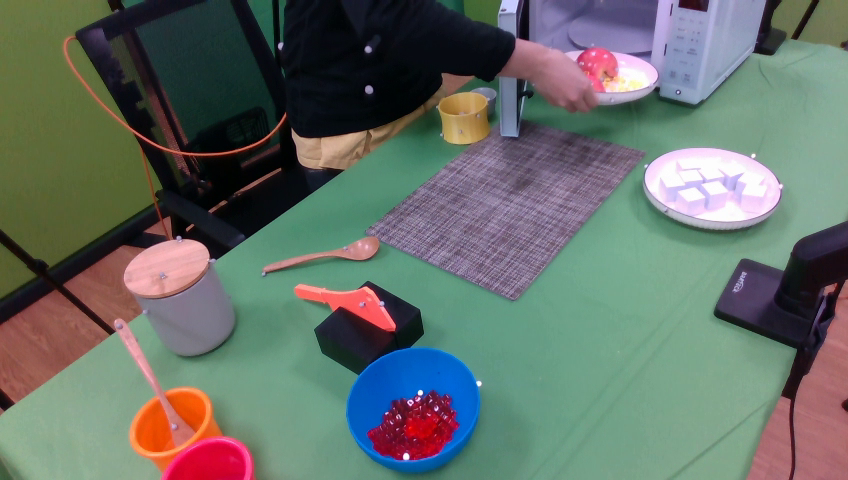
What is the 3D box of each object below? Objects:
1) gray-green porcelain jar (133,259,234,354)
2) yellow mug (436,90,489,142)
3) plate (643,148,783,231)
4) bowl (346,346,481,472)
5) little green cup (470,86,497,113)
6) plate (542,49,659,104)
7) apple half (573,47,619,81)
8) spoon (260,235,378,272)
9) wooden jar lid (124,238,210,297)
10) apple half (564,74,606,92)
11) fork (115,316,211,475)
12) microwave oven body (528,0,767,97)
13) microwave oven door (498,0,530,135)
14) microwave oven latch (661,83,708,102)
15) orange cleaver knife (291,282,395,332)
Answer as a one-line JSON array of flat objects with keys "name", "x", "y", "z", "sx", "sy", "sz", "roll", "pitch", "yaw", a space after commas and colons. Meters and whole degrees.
[{"name": "gray-green porcelain jar", "x": -0.328, "y": 0.087, "z": 0.836, "sx": 0.106, "sy": 0.127, "sz": 0.105, "roll": -4, "pitch": 41, "yaw": 4}, {"name": "yellow mug", "x": 0.069, "y": -0.257, "z": 1.224, "sx": 0.100, "sy": 0.064, "sz": 0.129, "roll": -33, "pitch": 45, "yaw": -27}, {"name": "plate", "x": 0.464, "y": -0.080, "z": 0.986, "sx": 0.207, "sy": 0.039, "sz": 0.206, "roll": -4, "pitch": 41, "yaw": 4}, {"name": "bowl", "x": -0.008, "y": 0.205, "z": 0.691, "sx": 0.151, "sy": 0.077, "sz": 0.150, "roll": -4, "pitch": 40, "yaw": 4}, {"name": "little green cup", "x": 0.124, "y": -0.297, "z": 1.285, "sx": 0.061, "sy": 0.039, "sz": 0.061, "roll": -3, "pitch": 41, "yaw": 3}, {"name": "plate", "x": 0.320, "y": -0.297, "z": 1.111, "sx": 0.209, "sy": 0.038, "sz": 0.208, "roll": -1, "pitch": 37, "yaw": 1}, {"name": "apple half", "x": 0.322, "y": -0.333, "z": 1.133, "sx": 0.081, "sy": 0.053, "sz": 0.074, "roll": -11, "pitch": 36, "yaw": -12}, {"name": "spoon", "x": -0.168, "y": 0.024, "z": 0.966, "sx": 0.194, "sy": 0.022, "sz": 0.041, "roll": -10, "pitch": 58, "yaw": -3}, {"name": "wooden jar lid", "x": -0.335, "y": 0.039, "z": 0.794, "sx": 0.108, "sy": 0.021, "sz": 0.108, "roll": -2, "pitch": 40, "yaw": 2}, {"name": "apple half", "x": 0.285, "y": -0.281, "z": 1.080, "sx": 0.081, "sy": 0.033, "sz": 0.081, "roll": 3, "pitch": 30, "yaw": -1}, {"name": "fork", "x": -0.309, "y": 0.180, "z": 0.708, "sx": 0.028, "sy": 0.018, "sz": 0.207, "roll": -29, "pitch": 89, "yaw": -24}, {"name": "microwave oven body", "x": 0.473, "y": -0.516, "z": 1.313, "sx": 0.438, "sy": 0.261, "sz": 0.327, "roll": 26, "pitch": 51, "yaw": 34}, {"name": "microwave oven door", "x": 0.186, "y": -0.411, "z": 1.225, "sx": 0.039, "sy": 0.245, "sz": 0.355, "roll": 3, "pitch": 42, "yaw": 12}, {"name": "microwave oven latch", "x": 0.516, "y": -0.298, "z": 1.202, "sx": 0.078, "sy": 0.029, "sz": 0.030, "roll": 25, "pitch": 51, "yaw": 33}, {"name": "orange cleaver knife", "x": -0.116, "y": 0.091, "z": 0.835, "sx": 0.209, "sy": 0.077, "sz": 0.012, "roll": 1, "pitch": 32, "yaw": 47}]
